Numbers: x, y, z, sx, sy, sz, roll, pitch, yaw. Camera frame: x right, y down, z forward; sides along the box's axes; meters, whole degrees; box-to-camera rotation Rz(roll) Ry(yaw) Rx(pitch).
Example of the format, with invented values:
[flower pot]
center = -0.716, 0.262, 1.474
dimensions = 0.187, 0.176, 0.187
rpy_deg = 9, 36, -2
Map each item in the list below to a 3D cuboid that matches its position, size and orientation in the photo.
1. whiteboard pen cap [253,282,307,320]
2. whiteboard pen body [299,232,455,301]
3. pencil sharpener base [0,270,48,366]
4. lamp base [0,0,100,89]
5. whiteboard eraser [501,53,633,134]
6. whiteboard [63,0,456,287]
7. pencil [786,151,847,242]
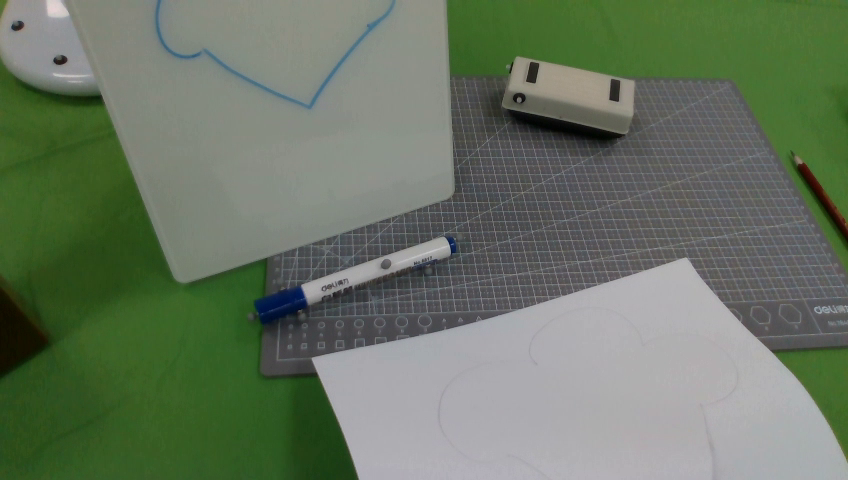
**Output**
[whiteboard pen cap]
center = -0.095, 0.040, 0.402
dimensions = 0.033, 0.018, 0.018
rpy_deg = -20, 59, -19
[whiteboard pen body]
center = -0.042, 0.021, 0.421
dimensions = 0.141, 0.017, 0.017
rpy_deg = -19, 58, -19
[pencil sharpener base]
center = -0.276, 0.034, 0.334
dimensions = 0.061, 0.108, 0.076
rpy_deg = 39, 59, 20
[lamp base]
center = -0.297, -0.242, 0.485
dimensions = 0.178, 0.182, 0.160
rpy_deg = 31, 56, 18
[whiteboard eraser]
center = 0.127, -0.129, 0.541
dimensions = 0.112, 0.042, 0.055
rpy_deg = 14, 54, 3
[whiteboard]
center = -0.110, -0.159, 0.408
dimensions = 0.217, 0.308, 0.142
rpy_deg = -19, 39, -18
[pencil]
center = 0.353, -0.007, 0.507
dimensions = 0.012, 0.012, 0.192
rpy_deg = -4, 53, -10
